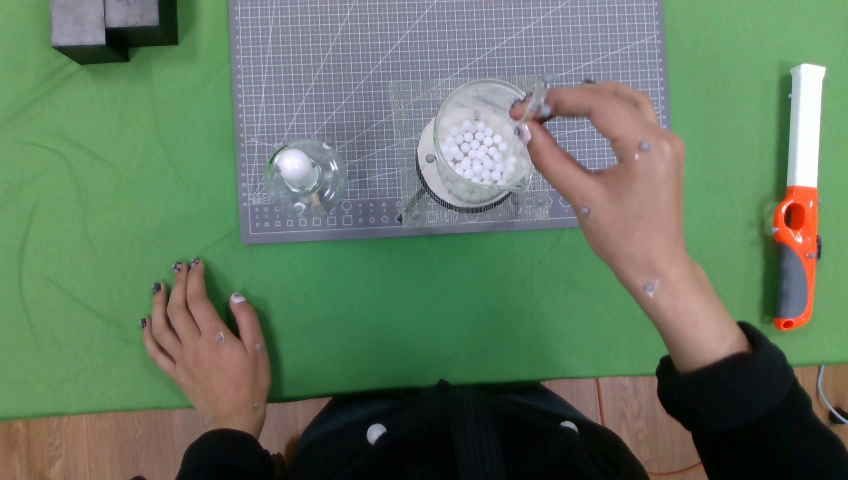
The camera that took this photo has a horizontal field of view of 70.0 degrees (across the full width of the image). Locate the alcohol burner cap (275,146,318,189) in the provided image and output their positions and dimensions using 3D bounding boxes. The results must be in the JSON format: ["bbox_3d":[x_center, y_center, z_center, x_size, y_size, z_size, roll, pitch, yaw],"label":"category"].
[{"bbox_3d":[-0.113,-0.064,0.527,0.034,0.048,0.034,0,84,0],"label":"alcohol burner cap"}]

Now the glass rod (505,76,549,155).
[{"bbox_3d":[0.064,-0.075,0.396,0.008,0.200,0.008,0,88,3],"label":"glass rod"}]

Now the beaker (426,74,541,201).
[{"bbox_3d":[0.041,-0.067,0.447,0.074,0.100,0.084,-36,89,-4],"label":"beaker"}]

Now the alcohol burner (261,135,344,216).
[{"bbox_3d":[-0.115,-0.063,0.563,0.078,0.119,0.078,0,86,-3],"label":"alcohol burner"}]

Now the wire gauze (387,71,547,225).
[{"bbox_3d":[0.035,-0.075,0.495,0.125,0.011,0.121,-4,87,-1],"label":"wire gauze"}]

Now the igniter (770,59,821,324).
[{"bbox_3d":[0.389,-0.050,0.633,0.057,0.025,0.276,5,89,-13],"label":"igniter"}]

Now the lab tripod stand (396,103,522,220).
[{"bbox_3d":[0.032,-0.069,0.560,0.148,0.131,0.148,0,87,-1],"label":"lab tripod stand"}]
